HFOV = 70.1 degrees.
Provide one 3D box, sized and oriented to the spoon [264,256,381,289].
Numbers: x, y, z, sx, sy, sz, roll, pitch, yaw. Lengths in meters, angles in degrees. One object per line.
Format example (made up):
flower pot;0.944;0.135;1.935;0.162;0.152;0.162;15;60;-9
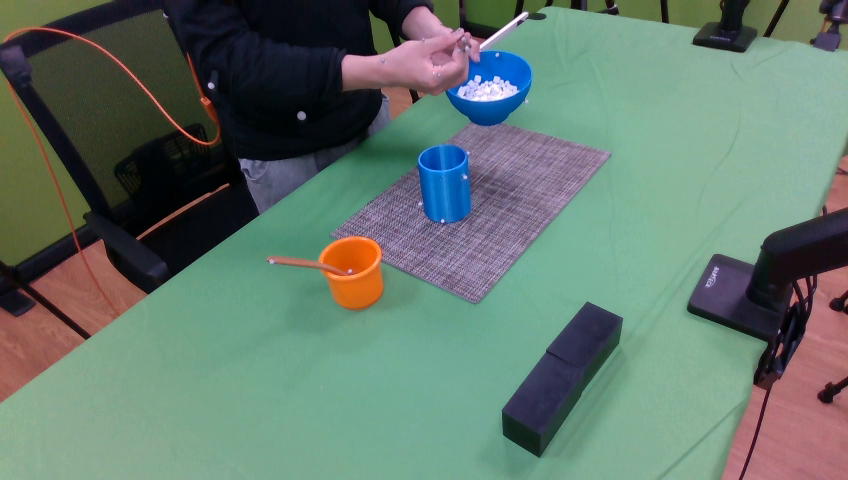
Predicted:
spoon;-0.136;0.041;0.842;0.021;0.195;0.041;-56;46;13

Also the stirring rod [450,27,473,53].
stirring rod;0.052;-0.288;0.864;0.014;0.006;0.175;-35;24;13

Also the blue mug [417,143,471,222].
blue mug;0.031;-0.104;1.015;0.082;0.106;0.115;-14;41;-8

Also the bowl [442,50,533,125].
bowl;0.109;-0.249;1.028;0.151;0.077;0.150;-4;48;5
